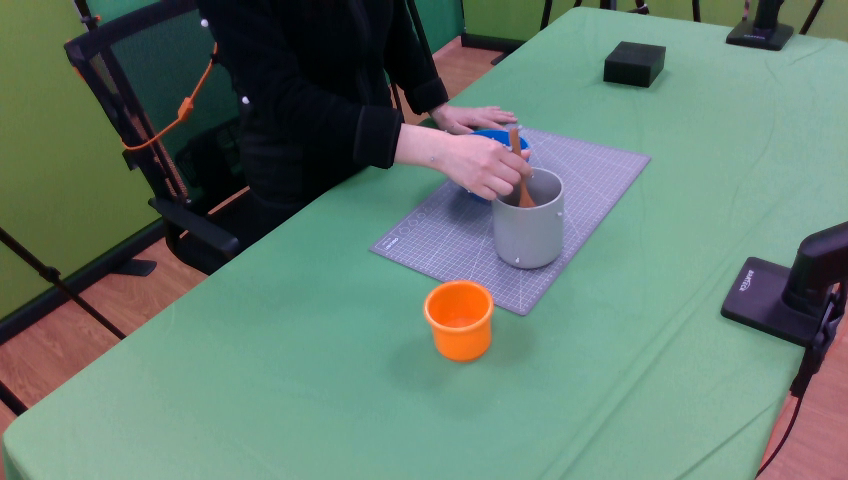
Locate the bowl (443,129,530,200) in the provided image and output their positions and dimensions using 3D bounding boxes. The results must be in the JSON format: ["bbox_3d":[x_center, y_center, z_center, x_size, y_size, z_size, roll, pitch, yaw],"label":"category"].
[{"bbox_3d":[0.113,-0.123,1.063,0.151,0.077,0.150,-5,40,5],"label":"bowl"}]

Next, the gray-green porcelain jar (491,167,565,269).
[{"bbox_3d":[0.157,-0.029,0.904,0.106,0.127,0.105,-6,40,5],"label":"gray-green porcelain jar"}]

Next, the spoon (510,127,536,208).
[{"bbox_3d":[0.136,-0.080,0.842,0.041,0.195,0.021,-5,43,15],"label":"spoon"}]
